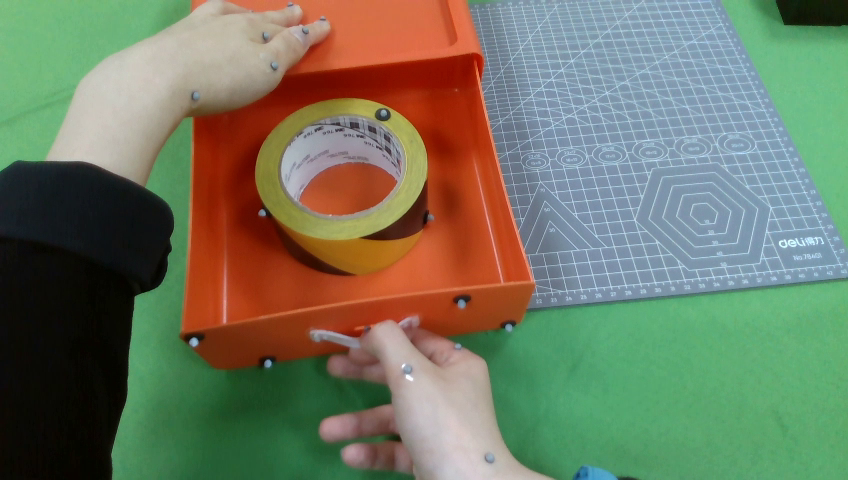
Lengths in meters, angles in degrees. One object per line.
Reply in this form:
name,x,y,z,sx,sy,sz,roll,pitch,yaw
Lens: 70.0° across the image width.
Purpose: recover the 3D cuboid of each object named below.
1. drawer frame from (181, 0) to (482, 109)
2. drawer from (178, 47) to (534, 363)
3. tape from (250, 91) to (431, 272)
drawer frame,-0.075,-0.184,0.477,0.202,0.083,0.211,-9,60,-5
drawer,-0.049,-0.038,0.399,0.195,0.074,0.210,-8,62,-4
tape,-0.052,-0.040,0.408,0.117,0.053,0.116,0,63,0
